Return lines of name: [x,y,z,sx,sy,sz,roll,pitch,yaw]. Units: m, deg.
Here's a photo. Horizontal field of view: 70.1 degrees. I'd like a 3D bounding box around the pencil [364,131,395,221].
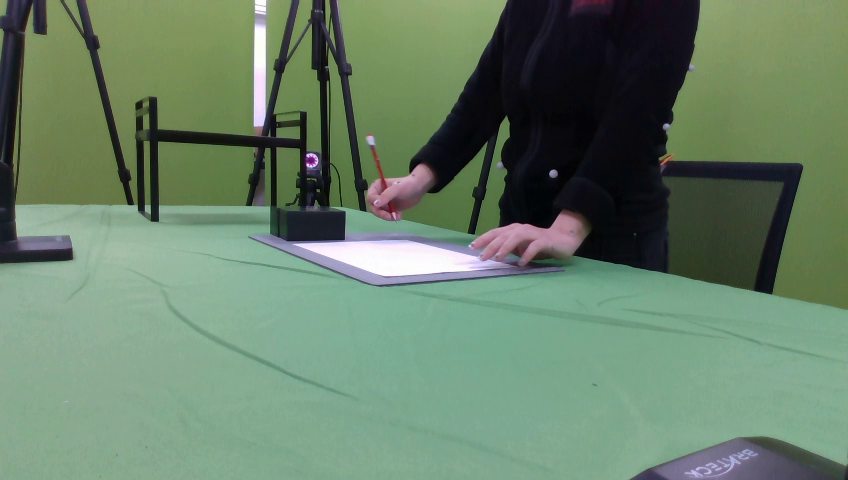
pencil: [-0.079,-0.116,1.086,0.012,0.193,0.012,-16,-23,-7]
